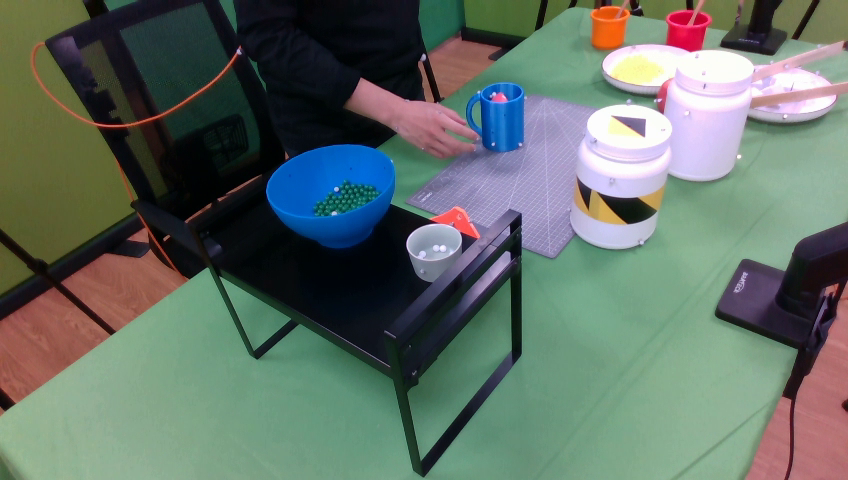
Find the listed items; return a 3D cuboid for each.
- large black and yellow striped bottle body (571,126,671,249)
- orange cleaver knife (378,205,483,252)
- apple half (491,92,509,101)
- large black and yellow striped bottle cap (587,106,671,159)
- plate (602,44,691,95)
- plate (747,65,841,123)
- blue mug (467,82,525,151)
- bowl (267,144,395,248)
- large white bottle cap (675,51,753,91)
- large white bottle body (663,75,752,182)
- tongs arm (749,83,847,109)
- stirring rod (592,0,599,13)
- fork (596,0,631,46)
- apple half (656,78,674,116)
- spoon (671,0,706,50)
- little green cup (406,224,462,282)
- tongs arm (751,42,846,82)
[{"bbox_3d":[0.296,-0.093,0.915,0.131,0.185,0.130,-3,42,3],"label":"large black and yellow striped bottle body"},{"bbox_3d":[0.005,-0.010,0.944,0.210,0.077,0.012,-5,23,47],"label":"orange cleaver knife"},{"bbox_3d":[0.141,-0.239,1.158,0.033,0.081,0.080,-13,40,-17],"label":"apple half"},{"bbox_3d":[0.290,-0.154,0.858,0.115,0.019,0.114,-4,42,4],"label":"large black and yellow striped bottle cap"},{"bbox_3d":[0.495,-0.367,1.317,0.209,0.038,0.208,-4,40,4],"label":"plate"},{"bbox_3d":[0.694,-0.282,1.189,0.207,0.039,0.206,-4,40,4],"label":"plate"},{"bbox_3d":[0.138,-0.241,1.170,0.116,0.106,0.082,11,44,21],"label":"blue mug"},{"bbox_3d":[-0.104,-0.043,0.726,0.151,0.077,0.150,-4,40,4],"label":"bowl"},{"bbox_3d":[0.463,-0.271,0.967,0.115,0.018,0.114,-4,40,4],"label":"large white bottle cap"},{"bbox_3d":[0.472,-0.207,1.022,0.130,0.185,0.130,-4,41,4],"label":"large white bottle body"},{"bbox_3d":[0.734,-0.280,1.133,0.388,0.028,0.028,-9,47,-5],"label":"tongs arm"},{"bbox_3d":[0.354,-0.541,1.239,0.014,0.177,0.006,24,66,26],"label":"stirring rod"},{"bbox_3d":[0.481,-0.556,1.452,0.028,0.019,0.207,41,104,40],"label":"fork"},{"bbox_3d":[0.488,-0.281,1.192,0.053,0.075,0.081,24,54,37],"label":"apple half"},{"bbox_3d":[0.629,-0.520,1.394,0.041,0.022,0.193,30,96,34],"label":"spoon"},{"bbox_3d":[0.012,0.015,0.668,0.061,0.039,0.061,-4,40,4],"label":"little green cup"},{"bbox_3d":[0.708,-0.331,1.193,0.386,0.026,0.050,-18,45,-16],"label":"tongs arm"}]
